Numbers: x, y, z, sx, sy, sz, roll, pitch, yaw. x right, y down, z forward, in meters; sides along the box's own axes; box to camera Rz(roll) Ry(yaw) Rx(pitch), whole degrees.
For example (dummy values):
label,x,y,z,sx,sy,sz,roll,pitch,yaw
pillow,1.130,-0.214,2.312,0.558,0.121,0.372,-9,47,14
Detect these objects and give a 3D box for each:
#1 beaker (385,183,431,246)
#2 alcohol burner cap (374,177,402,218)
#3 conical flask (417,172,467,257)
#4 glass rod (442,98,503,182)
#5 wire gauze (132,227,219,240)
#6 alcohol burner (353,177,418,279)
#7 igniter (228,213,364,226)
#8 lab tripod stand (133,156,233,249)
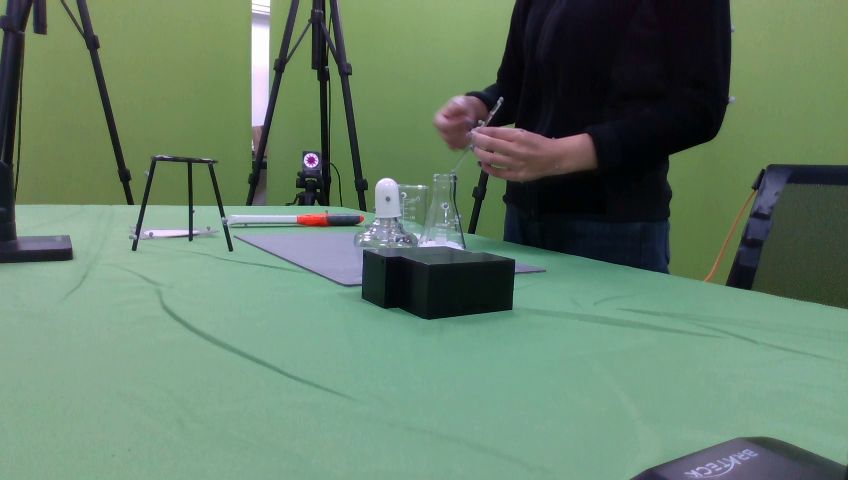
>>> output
label,x,y,z,sx,sy,sz,roll,pitch,yaw
beaker,-0.031,-0.043,1.000,0.084,0.100,0.074,4,7,15
alcohol burner cap,-0.044,-0.049,0.704,0.034,0.048,0.034,-5,10,1
conical flask,0.029,-0.039,0.897,0.075,0.122,0.075,3,8,0
glass rod,0.075,-0.157,0.979,0.008,0.008,0.199,-2,-32,-31
wire gauze,-0.421,-0.014,1.024,0.122,0.011,0.124,-2,7,-34
alcohol burner,-0.044,-0.014,0.710,0.078,0.119,0.078,4,9,0
igniter,-0.252,-0.042,1.227,0.278,0.025,0.057,-3,-2,-32
lab tripod stand,-0.342,-0.054,0.878,0.148,0.131,0.148,4,6,0
